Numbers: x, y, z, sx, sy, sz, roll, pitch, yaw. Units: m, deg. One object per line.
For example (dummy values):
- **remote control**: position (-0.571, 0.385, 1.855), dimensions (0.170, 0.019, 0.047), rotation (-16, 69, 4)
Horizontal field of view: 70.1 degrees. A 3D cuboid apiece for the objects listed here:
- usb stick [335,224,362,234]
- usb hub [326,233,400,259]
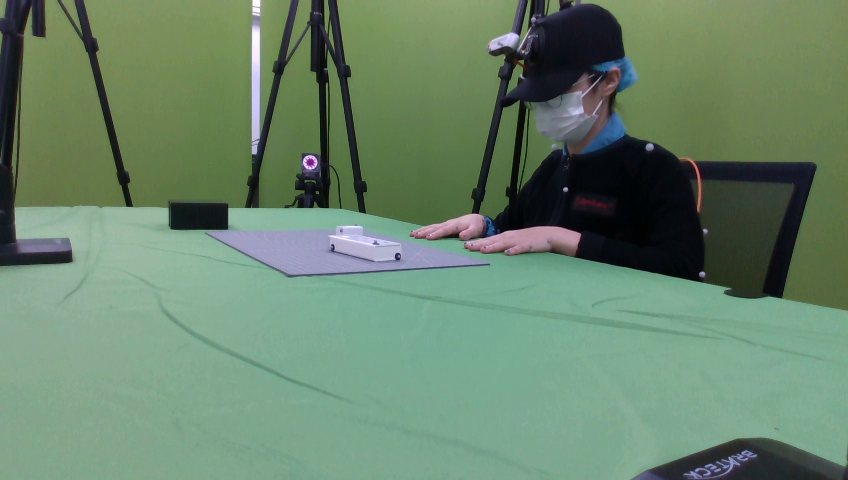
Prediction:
- **usb stick**: position (-0.135, -0.013, 1.040), dimensions (0.021, 0.027, 0.059), rotation (11, 14, 42)
- **usb hub**: position (-0.092, 0.008, 0.892), dimensions (0.050, 0.025, 0.124), rotation (-5, 9, -40)
